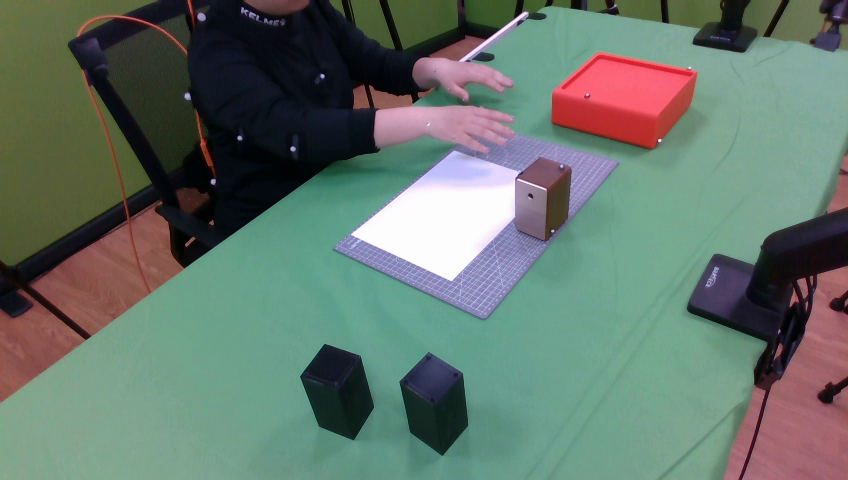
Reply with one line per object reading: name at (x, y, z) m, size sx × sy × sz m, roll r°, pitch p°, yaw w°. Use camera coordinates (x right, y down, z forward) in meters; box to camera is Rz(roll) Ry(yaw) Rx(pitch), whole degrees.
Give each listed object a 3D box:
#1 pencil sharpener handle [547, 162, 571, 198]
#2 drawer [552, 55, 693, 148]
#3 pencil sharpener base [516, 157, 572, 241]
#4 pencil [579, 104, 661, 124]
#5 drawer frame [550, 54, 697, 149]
pencil sharpener handle at (0.221, -0.101, 0.968) m, size 0.035 × 0.068 × 0.031 m, roll 19°, pitch 46°, yaw 37°
drawer at (0.389, -0.278, 1.196) m, size 0.210 × 0.073 × 0.195 m, roll 24°, pitch 49°, yaw 31°
pencil sharpener base at (0.189, -0.065, 0.948) m, size 0.061 × 0.107 × 0.077 m, roll 24°, pitch 49°, yaw 33°
pencil at (0.395, -0.255, 1.212) m, size 0.195 × 0.012 × 0.012 m, roll -14°, pitch 40°, yaw -17°
drawer frame at (0.391, -0.280, 1.194) m, size 0.212 × 0.083 × 0.202 m, roll 23°, pitch 48°, yaw 30°
